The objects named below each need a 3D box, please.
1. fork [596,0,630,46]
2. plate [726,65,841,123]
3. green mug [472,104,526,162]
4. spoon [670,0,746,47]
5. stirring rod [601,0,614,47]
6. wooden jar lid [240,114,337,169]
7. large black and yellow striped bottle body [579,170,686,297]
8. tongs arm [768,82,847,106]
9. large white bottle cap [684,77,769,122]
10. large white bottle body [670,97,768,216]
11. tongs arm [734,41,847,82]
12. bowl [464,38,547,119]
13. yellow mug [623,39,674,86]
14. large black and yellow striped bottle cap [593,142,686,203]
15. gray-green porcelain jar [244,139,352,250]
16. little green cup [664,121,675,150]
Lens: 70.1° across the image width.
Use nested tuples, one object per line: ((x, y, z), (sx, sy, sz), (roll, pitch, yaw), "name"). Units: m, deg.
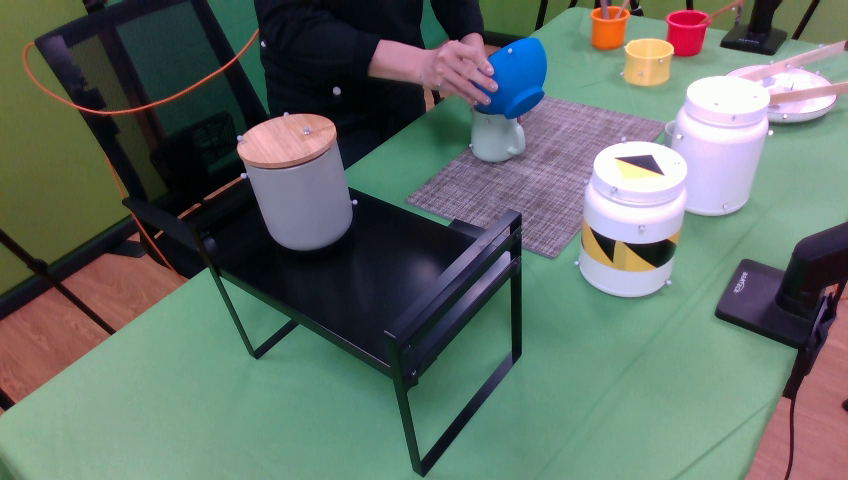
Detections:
((0.481, -0.556, 1.453), (0.028, 0.019, 0.207), (40, 103, 38), "fork")
((0.695, -0.282, 1.189), (0.207, 0.039, 0.206), (-4, 40, 4), "plate")
((0.144, -0.202, 1.122), (0.093, 0.105, 0.124), (-29, 45, -23), "green mug")
((0.629, -0.484, 1.350), (0.022, 0.193, 0.042), (48, 54, -7), "spoon")
((0.439, -0.552, 1.463), (0.014, 0.006, 0.175), (-7, 83, 3), "stirring rod")
((-0.149, -0.106, 0.673), (0.108, 0.021, 0.108), (-6, 38, 5), "wooden jar lid")
((0.287, -0.027, 0.841), (0.131, 0.185, 0.130), (-4, 40, 4), "large black and yellow striped bottle body")
((0.738, -0.282, 1.134), (0.388, 0.028, 0.028), (-9, 46, -5), "tongs arm")
((0.448, -0.209, 0.898), (0.115, 0.018, 0.114), (-4, 40, 4), "large white bottle cap")
((0.458, -0.146, 0.952), (0.130, 0.185, 0.130), (-4, 40, 4), "large white bottle body")
((0.712, -0.332, 1.194), (0.386, 0.026, 0.050), (-18, 45, -16), "tongs arm")
((0.150, -0.255, 1.008), (0.152, 0.151, 0.076), (-26, 79, -20), "bowl")
((0.484, -0.398, 1.333), (0.100, 0.064, 0.130), (-18, 41, -11), "yellow mug")
((0.280, -0.090, 0.786), (0.115, 0.019, 0.114), (-5, 41, 5), "large black and yellow striped bottle cap")
((-0.144, -0.060, 0.714), (0.106, 0.127, 0.105), (-4, 41, 4), "gray-green porcelain jar")
((0.472, -0.188, 1.113), (0.061, 0.039, 0.061), (-5, 40, 5), "little green cup")
